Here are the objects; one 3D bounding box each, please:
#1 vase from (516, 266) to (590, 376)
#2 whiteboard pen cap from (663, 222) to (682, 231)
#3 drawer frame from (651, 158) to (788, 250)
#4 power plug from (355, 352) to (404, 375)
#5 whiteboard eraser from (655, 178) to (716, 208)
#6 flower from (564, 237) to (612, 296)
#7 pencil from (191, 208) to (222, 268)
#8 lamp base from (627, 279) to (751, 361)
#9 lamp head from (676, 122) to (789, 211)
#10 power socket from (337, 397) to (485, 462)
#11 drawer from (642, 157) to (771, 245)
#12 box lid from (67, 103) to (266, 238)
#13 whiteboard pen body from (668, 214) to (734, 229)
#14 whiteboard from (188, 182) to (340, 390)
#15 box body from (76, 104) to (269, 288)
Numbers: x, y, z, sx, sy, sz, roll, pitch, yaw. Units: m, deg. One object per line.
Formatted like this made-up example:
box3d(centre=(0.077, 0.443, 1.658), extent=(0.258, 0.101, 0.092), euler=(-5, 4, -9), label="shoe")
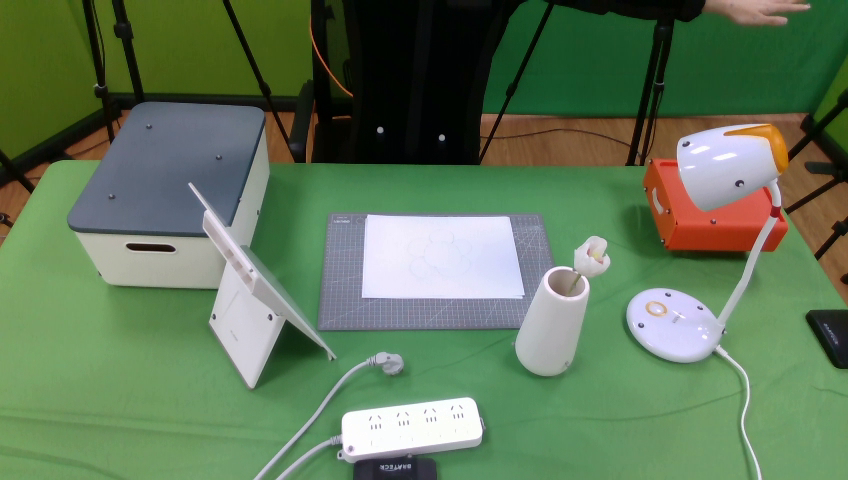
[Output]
box3d(centre=(0.208, 0.132, 0.964), extent=(0.098, 0.201, 0.097), euler=(3, 46, -3), label="vase")
box3d(centre=(0.488, -0.027, 1.188), extent=(0.033, 0.018, 0.018), euler=(-1, 46, -13), label="whiteboard pen cap")
box3d(centre=(0.571, -0.074, 1.213), extent=(0.214, 0.083, 0.200), euler=(1, 46, 0), label="drawer frame")
box3d(centre=(-0.068, 0.202, 0.988), extent=(0.072, 0.053, 0.035), euler=(-4, 47, 20), label="power plug")
box3d(centre=(0.538, -0.095, 1.250), extent=(0.113, 0.042, 0.055), euler=(4, 52, -10), label="whiteboard eraser")
box3d(centre=(0.206, 0.088, 0.892), extent=(0.038, 0.363, 0.044), euler=(-16, 67, -9), label="flower")
box3d(centre=(-0.422, -0.008, 1.186), extent=(0.012, 0.012, 0.193), euler=(2, 37, -2), label="pencil")
box3d(centre=(0.459, 0.100, 1.027), extent=(0.178, 0.181, 0.160), euler=(27, 51, 17), label="lamp base")
box3d(centre=(0.423, -0.104, 0.819), extent=(0.122, 0.113, 0.112), euler=(-13, 33, 40), label="lamp head")
box3d(centre=(-0.018, 0.285, 0.915), extent=(0.227, 0.033, 0.071), euler=(-5, 46, -8), label="power socket")
box3d(centre=(0.564, -0.075, 1.210), extent=(0.212, 0.073, 0.193), euler=(3, 45, -1), label="drawer")
box3d(centre=(-0.447, -0.137, 1.094), extent=(0.263, 0.015, 0.369), euler=(2, 45, -2), label="box lid")
box3d(centre=(0.547, -0.035, 1.200), extent=(0.141, 0.017, 0.017), euler=(-8, 48, -9), label="whiteboard pen body")
box3d(centre=(-0.292, 0.096, 0.929), extent=(0.144, 0.307, 0.216), euler=(-38, 57, -10), label="whiteboard")
box3d(centre=(-0.450, -0.087, 1.149), extent=(0.254, 0.161, 0.361), euler=(2, 46, -2), label="box body")
